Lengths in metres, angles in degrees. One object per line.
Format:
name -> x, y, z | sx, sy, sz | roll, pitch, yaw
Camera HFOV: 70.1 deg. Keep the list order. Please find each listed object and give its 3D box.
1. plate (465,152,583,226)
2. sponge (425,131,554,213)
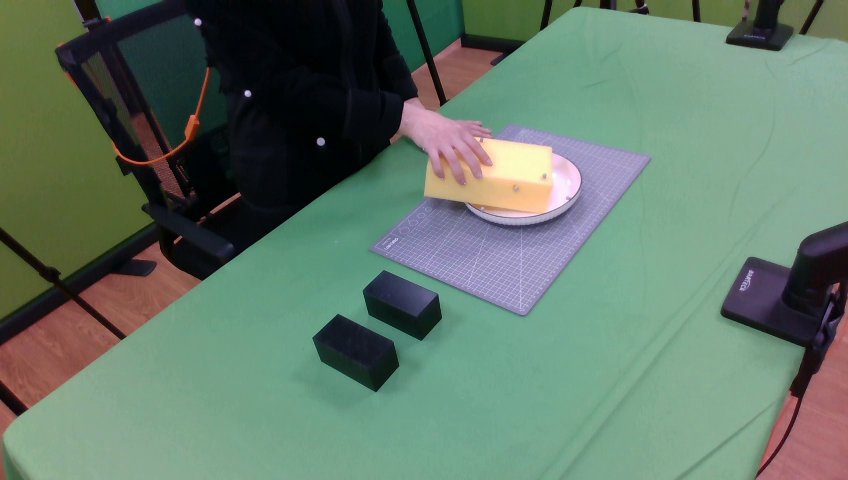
plate -> 0.167, -0.089, 1.043 | 0.209, 0.038, 0.208 | -5, 40, 5
sponge -> 0.112, -0.117, 1.026 | 0.207, 0.061, 0.118 | 8, 42, 2
